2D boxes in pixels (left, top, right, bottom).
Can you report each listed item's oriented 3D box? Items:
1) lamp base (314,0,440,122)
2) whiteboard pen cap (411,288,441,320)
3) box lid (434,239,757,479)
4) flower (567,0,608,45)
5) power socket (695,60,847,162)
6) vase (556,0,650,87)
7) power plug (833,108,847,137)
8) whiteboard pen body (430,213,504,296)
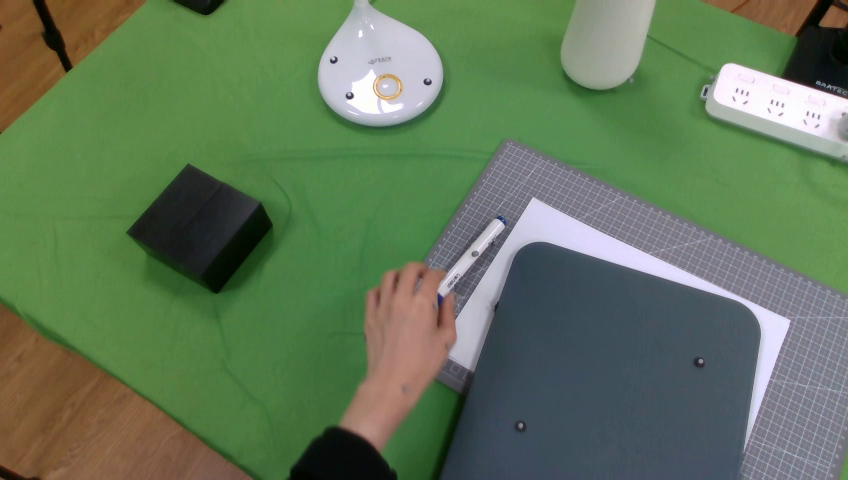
[{"bbox_3d":[-0.068,-0.260,0.708,0.161,0.182,0.177,-23,63,-10],"label":"lamp base"},{"bbox_3d":[0.003,0.067,0.636,0.018,0.018,0.033,35,71,17],"label":"whiteboard pen cap"},{"bbox_3d":[0.164,0.185,0.582,0.262,0.015,0.369,18,67,9],"label":"box lid"},{"bbox_3d":[0.223,-0.292,0.617,0.044,0.362,0.038,-12,81,-13],"label":"flower"},{"bbox_3d":[0.445,-0.154,0.729,0.226,0.033,0.072,23,68,11],"label":"power socket"},{"bbox_3d":[0.212,-0.271,0.698,0.098,0.201,0.097,-1,63,2],"label":"vase"},{"bbox_3d":[0.478,-0.121,0.687,0.035,0.053,0.072,33,75,16],"label":"power plug"},{"bbox_3d":[0.040,0.024,0.653,0.017,0.017,0.140,36,72,18],"label":"whiteboard pen body"}]
